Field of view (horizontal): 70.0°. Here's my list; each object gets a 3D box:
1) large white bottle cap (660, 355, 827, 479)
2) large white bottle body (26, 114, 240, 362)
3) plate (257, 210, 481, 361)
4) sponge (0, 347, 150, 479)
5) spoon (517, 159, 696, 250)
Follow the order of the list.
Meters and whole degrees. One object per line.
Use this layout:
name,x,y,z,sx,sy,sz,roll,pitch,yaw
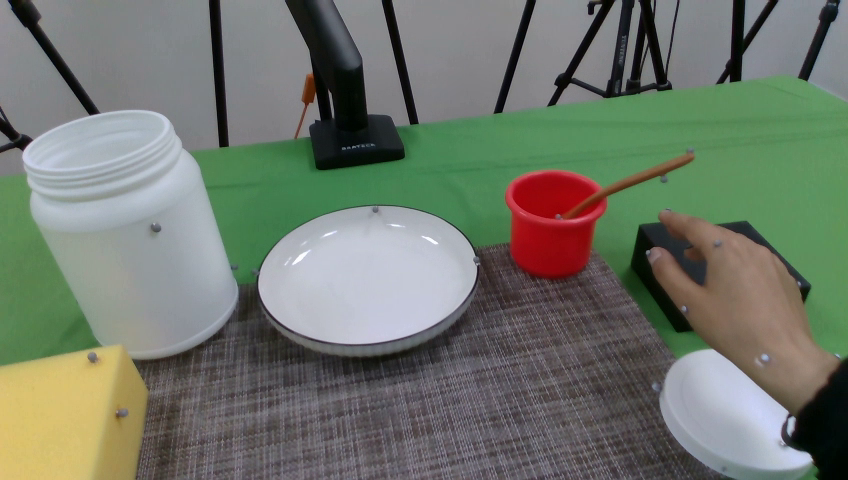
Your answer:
large white bottle cap,0.241,0.135,0.462,0.115,0.018,0.113,1,36,0
large white bottle body,-0.244,-0.002,0.522,0.130,0.186,0.129,-3,35,2
plate,-0.050,0.042,0.580,0.209,0.038,0.207,-1,36,1
sponge,-0.262,0.172,0.396,0.118,0.061,0.204,-11,37,-9
spoon,0.167,-0.031,0.581,0.022,0.193,0.041,48,42,-10
